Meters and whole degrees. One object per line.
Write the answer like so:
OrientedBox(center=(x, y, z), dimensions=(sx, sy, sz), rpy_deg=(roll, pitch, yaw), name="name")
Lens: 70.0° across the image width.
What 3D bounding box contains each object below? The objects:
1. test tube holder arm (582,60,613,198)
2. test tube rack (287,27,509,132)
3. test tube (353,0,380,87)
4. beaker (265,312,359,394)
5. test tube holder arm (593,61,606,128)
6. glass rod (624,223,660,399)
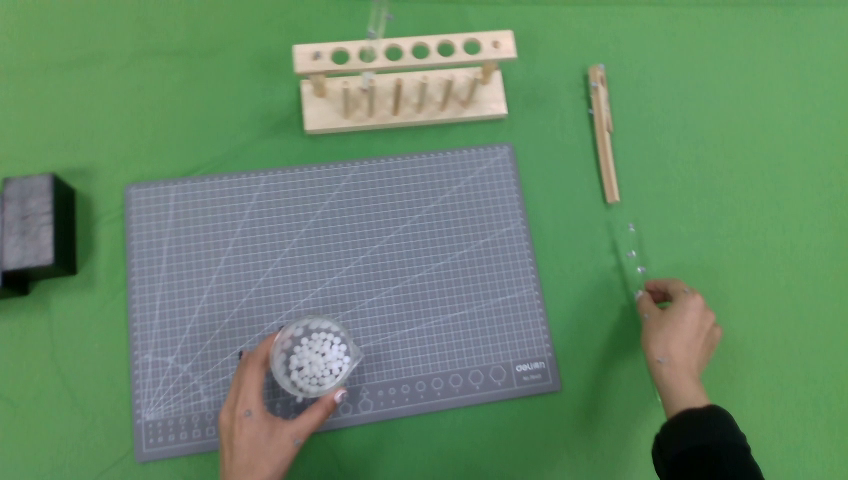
OrientedBox(center=(0.212, -0.137, 0.741), dimensions=(0.013, 0.015, 0.177), rpy_deg=(6, 73, -34), name="test tube holder arm")
OrientedBox(center=(-0.028, -0.184, 0.700), dimensions=(0.243, 0.085, 0.066), rpy_deg=(-7, 76, -7), name="test tube rack")
OrientedBox(center=(-0.064, -0.209, 0.652), dimensions=(0.017, 0.150, 0.017), rpy_deg=(3, 72, -10), name="test tube")
OrientedBox(center=(-0.105, 0.114, 0.595), dimensions=(0.084, 0.100, 0.073), rpy_deg=(1, 76, -6), name="beaker")
OrientedBox(center=(0.214, -0.180, 0.754), dimensions=(0.010, 0.015, 0.087), rpy_deg=(7, 73, -34), name="test tube holder arm")
OrientedBox(center=(0.245, 0.078, 0.683), dimensions=(0.008, 0.008, 0.199), rpy_deg=(-6, 82, -7), name="glass rod")
